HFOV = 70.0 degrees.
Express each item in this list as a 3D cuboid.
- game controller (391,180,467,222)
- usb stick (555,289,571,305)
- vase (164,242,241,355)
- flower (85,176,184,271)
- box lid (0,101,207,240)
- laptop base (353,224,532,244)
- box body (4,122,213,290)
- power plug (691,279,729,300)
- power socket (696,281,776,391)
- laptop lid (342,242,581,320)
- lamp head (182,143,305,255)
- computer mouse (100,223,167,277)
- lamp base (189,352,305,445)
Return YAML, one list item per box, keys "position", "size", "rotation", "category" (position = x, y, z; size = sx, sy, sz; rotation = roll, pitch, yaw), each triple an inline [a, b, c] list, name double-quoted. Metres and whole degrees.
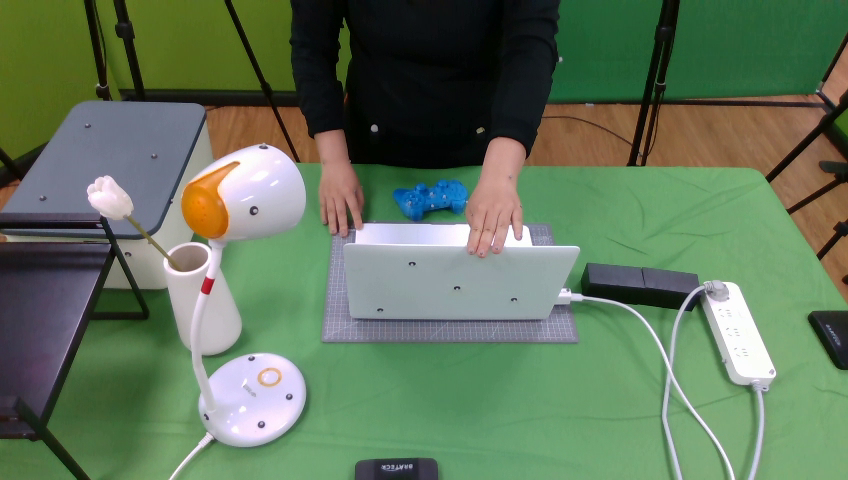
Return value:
- position: [0.016, -0.092, 1.273]
  size: [0.155, 0.052, 0.096]
  rotation: [-11, 52, -14]
  category: "game controller"
- position: [0.236, 0.103, 1.101]
  size: [0.059, 0.027, 0.021]
  rotation: [-2, 46, 1]
  category: "usb stick"
- position: [-0.349, 0.096, 0.954]
  size: [0.098, 0.201, 0.097]
  rotation: [3, 47, -3]
  category: "vase"
- position: [-0.365, 0.038, 0.894]
  size: [0.038, 0.364, 0.044]
  rotation: [-6, 53, 14]
  category: "flower"
- position: [-0.559, -0.137, 1.083]
  size: [0.263, 0.015, 0.369]
  rotation: [2, 46, -2]
  category: "box lid"
- position: [0.040, 0.056, 1.149]
  size: [0.355, 0.023, 0.234]
  rotation: [0, 43, -4]
  category: "laptop base"
- position: [-0.563, -0.086, 1.138]
  size: [0.254, 0.161, 0.361]
  rotation: [2, 46, -3]
  category: "box body"
- position: [0.522, 0.091, 1.116]
  size: [0.072, 0.053, 0.035]
  rotation: [11, 48, 9]
  category: "power plug"
- position: [0.550, 0.161, 1.078]
  size: [0.072, 0.033, 0.225]
  rotation: [2, 46, -1]
  category: "power socket"
- position: [0.052, 0.072, 0.970]
  size: [0.357, 0.243, 0.013]
  rotation: [1, 55, -5]
  category: "laptop lid"
- position: [-0.216, -0.044, 0.697]
  size: [0.112, 0.113, 0.123]
  rotation: [23, 31, 17]
  category: "lamp head"
- position: [-0.539, 0.015, 1.122]
  size: [0.062, 0.041, 0.117]
  rotation: [30, 57, 18]
  category: "computer mouse"
- position: [-0.268, 0.197, 0.876]
  size: [0.160, 0.181, 0.179]
  rotation: [26, 52, 20]
  category: "lamp base"
